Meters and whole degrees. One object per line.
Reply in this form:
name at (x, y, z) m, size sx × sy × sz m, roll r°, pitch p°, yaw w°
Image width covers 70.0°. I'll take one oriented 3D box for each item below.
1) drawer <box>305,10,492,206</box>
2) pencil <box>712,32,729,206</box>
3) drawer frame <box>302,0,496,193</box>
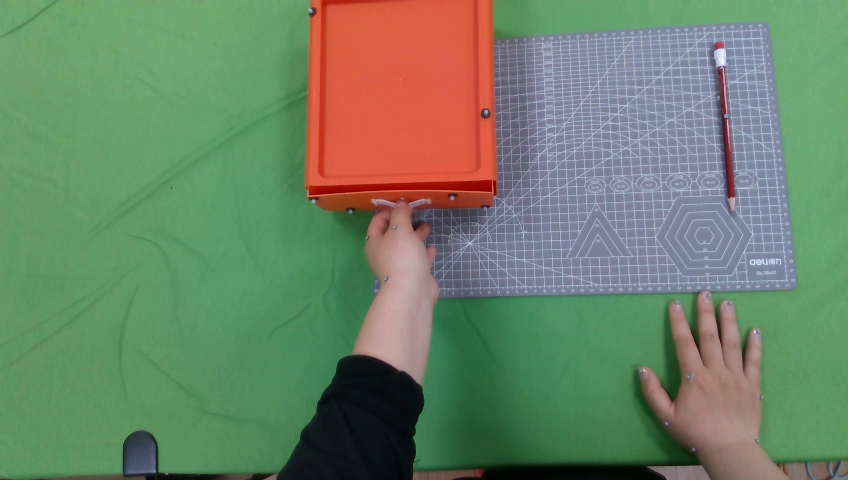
drawer at (-0.024, -0.144, 0.661) m, size 0.194 × 0.073 × 0.211 m, roll -1°, pitch 81°, yaw 7°
pencil at (0.324, -0.132, 0.659) m, size 0.012 × 0.012 × 0.193 m, roll -1°, pitch 84°, yaw 6°
drawer frame at (-0.025, -0.157, 0.662) m, size 0.201 × 0.083 × 0.212 m, roll -2°, pitch 81°, yaw 7°
